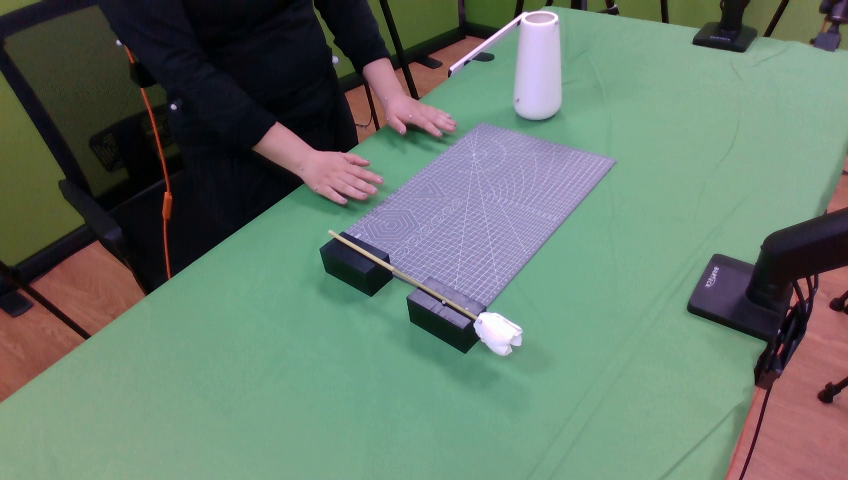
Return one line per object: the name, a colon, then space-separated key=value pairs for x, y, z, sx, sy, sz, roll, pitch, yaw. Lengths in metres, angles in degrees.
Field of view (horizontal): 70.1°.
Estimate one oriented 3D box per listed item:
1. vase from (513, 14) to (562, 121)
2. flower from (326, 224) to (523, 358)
vase: x=0.225 y=-0.336 z=1.196 sx=0.098 sy=0.201 sz=0.097 roll=-5 pitch=42 yaw=5
flower: x=-0.018 y=0.054 z=0.835 sx=0.359 sy=0.038 sz=0.044 roll=31 pitch=83 yaw=32
